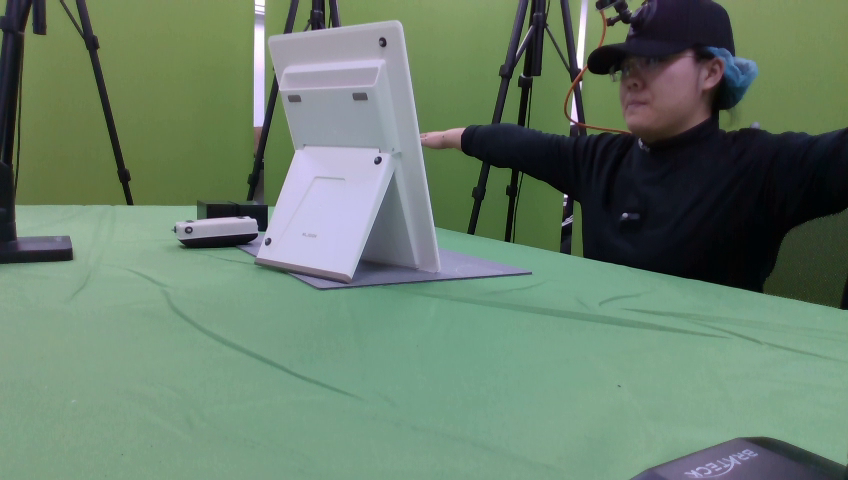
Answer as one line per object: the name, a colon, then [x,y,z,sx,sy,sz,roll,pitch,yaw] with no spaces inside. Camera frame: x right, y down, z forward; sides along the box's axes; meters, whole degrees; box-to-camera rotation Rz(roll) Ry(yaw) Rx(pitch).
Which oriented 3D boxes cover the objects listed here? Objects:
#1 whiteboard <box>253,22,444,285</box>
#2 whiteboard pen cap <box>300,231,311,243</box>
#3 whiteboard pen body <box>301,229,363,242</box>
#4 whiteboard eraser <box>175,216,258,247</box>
whiteboard: [-0.125,-0.081,0.715,0.216,0.305,0.144,9,29,36]
whiteboard pen cap: [-0.189,-0.004,0.965,0.018,0.018,0.033,2,9,-9]
whiteboard pen body: [-0.153,-0.007,1.017,0.017,0.017,0.141,8,9,36]
whiteboard eraser: [-0.313,-0.013,0.915,0.113,0.042,0.055,-5,12,-30]
